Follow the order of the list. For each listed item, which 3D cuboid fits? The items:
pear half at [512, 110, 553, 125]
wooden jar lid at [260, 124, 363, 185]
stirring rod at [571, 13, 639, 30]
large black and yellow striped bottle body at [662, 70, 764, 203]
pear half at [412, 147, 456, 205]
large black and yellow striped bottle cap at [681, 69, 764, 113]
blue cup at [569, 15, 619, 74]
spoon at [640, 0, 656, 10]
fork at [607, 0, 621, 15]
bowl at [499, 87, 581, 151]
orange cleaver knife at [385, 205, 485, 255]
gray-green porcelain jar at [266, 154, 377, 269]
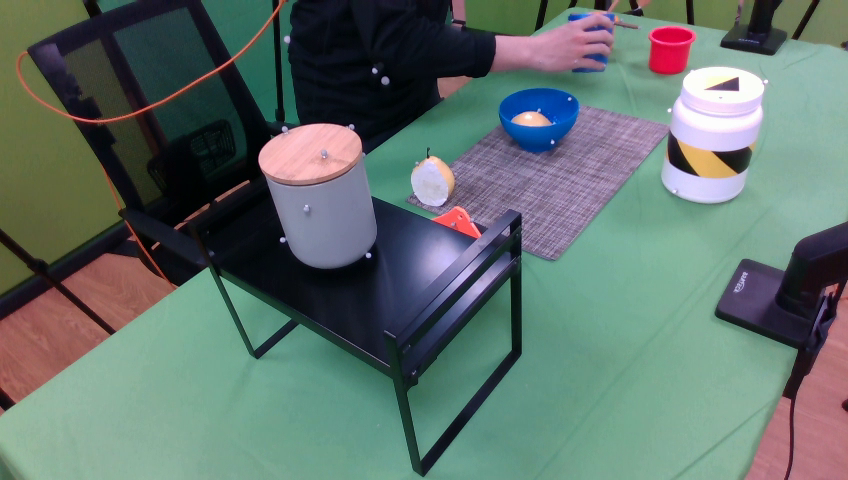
[{"bbox_3d":[0.212,-0.228,1.152,0.088,0.031,0.070,8,46,10],"label":"pear half"},{"bbox_3d":[-0.119,-0.088,0.645,0.108,0.021,0.108,-4,40,4],"label":"wooden jar lid"},{"bbox_3d":[0.418,-0.508,1.403,0.174,0.006,0.014,28,53,35],"label":"stirring rod"},{"bbox_3d":[0.464,-0.166,0.976,0.131,0.185,0.130,-5,41,5],"label":"large black and yellow striped bottle body"},{"bbox_3d":[0.019,-0.120,1.042,0.076,0.110,0.056,11,44,16],"label":"pear half"},{"bbox_3d":[0.453,-0.229,0.921,0.115,0.019,0.114,-4,39,4],"label":"large black and yellow striped bottle cap"},{"bbox_3d":[0.311,-0.363,1.125,0.093,0.100,0.092,-2,16,1],"label":"blue cup"},{"bbox_3d":[0.459,-0.558,1.201,0.022,0.194,0.041,-2,14,-24],"label":"spoon"},{"bbox_3d":[0.446,-0.539,1.438,0.207,0.019,0.028,-57,35,12],"label":"fork"},{"bbox_3d":[0.220,-0.223,1.156,0.151,0.077,0.150,-4,40,4],"label":"bowl"},{"bbox_3d":[0.012,-0.010,0.942,0.012,0.077,0.210,-36,19,-35],"label":"orange cleaver knife"},{"bbox_3d":[-0.112,-0.039,0.685,0.106,0.127,0.105,-4,40,4],"label":"gray-green porcelain jar"}]
